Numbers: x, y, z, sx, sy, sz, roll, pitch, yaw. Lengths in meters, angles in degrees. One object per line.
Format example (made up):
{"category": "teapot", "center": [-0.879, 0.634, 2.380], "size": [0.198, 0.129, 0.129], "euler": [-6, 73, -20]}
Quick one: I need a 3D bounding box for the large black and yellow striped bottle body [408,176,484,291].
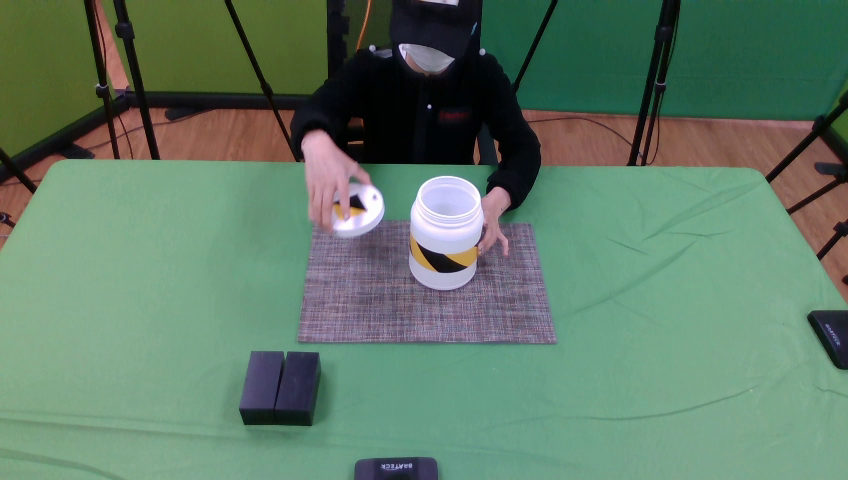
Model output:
{"category": "large black and yellow striped bottle body", "center": [0.038, -0.012, 1.095], "size": [0.131, 0.185, 0.130], "euler": [2, 46, -2]}

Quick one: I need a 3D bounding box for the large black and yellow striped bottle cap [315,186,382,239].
{"category": "large black and yellow striped bottle cap", "center": [-0.130, -0.049, 1.048], "size": [0.115, 0.019, 0.114], "euler": [-3, 48, 4]}
